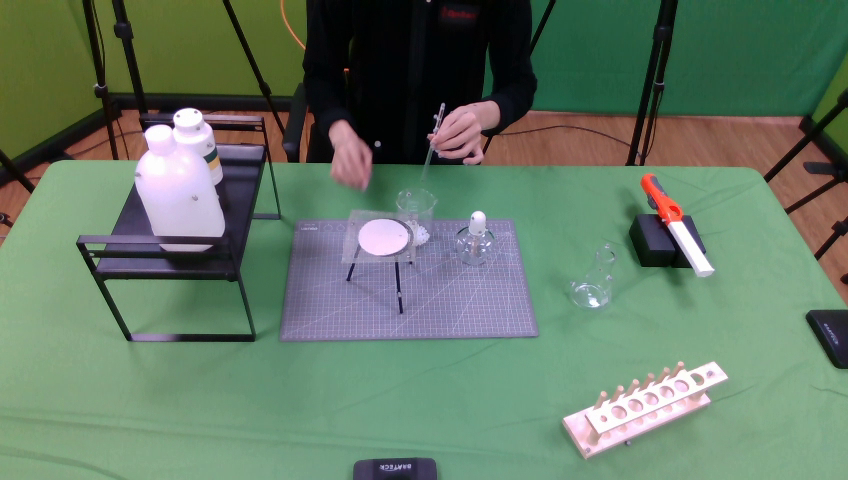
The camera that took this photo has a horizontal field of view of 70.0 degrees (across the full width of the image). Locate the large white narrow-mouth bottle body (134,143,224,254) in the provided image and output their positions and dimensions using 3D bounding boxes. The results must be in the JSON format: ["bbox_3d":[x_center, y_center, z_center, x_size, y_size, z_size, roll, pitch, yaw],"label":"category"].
[{"bbox_3d":[-0.358,-0.075,0.875,0.102,0.195,0.101,1,48,-1],"label":"large white narrow-mouth bottle body"}]

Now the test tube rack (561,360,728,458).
[{"bbox_3d":[0.341,0.247,0.940,0.243,0.085,0.066,-15,49,-18],"label":"test tube rack"}]

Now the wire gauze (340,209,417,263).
[{"bbox_3d":[-0.074,-0.006,1.023,0.121,0.011,0.124,3,46,0],"label":"wire gauze"}]

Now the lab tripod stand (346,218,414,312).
[{"bbox_3d":[-0.070,0.037,1.075,0.148,0.132,0.147,1,47,-1],"label":"lab tripod stand"}]

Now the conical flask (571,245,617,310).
[{"bbox_3d":[0.313,0.064,1.089,0.075,0.122,0.075,2,46,-2],"label":"conical flask"}]

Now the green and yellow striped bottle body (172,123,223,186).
[{"bbox_3d":[-0.373,-0.148,0.994,0.063,0.120,0.063,2,46,-2],"label":"green and yellow striped bottle body"}]

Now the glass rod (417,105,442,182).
[{"bbox_3d":[0.008,-0.158,1.027,0.008,0.200,0.008,5,59,-9],"label":"glass rod"}]

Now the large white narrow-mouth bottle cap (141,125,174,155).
[{"bbox_3d":[-0.356,-0.134,0.810,0.038,0.024,0.037,2,48,-2],"label":"large white narrow-mouth bottle cap"}]

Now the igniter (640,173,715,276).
[{"bbox_3d":[0.495,-0.039,1.204,0.057,0.025,0.274,-2,47,-12],"label":"igniter"}]

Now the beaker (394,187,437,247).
[{"bbox_3d":[-0.018,-0.042,1.179,0.084,0.101,0.073,-8,48,-13],"label":"beaker"}]

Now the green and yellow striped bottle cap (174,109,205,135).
[{"bbox_3d":[-0.369,-0.186,0.954,0.045,0.020,0.045,3,49,-3],"label":"green and yellow striped bottle cap"}]

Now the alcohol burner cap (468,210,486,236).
[{"bbox_3d":[0.100,-0.034,1.119,0.034,0.048,0.033,0,53,0],"label":"alcohol burner cap"}]

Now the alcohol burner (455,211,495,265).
[{"bbox_3d":[0.097,-0.010,1.147,0.078,0.120,0.077,1,47,0],"label":"alcohol burner"}]
